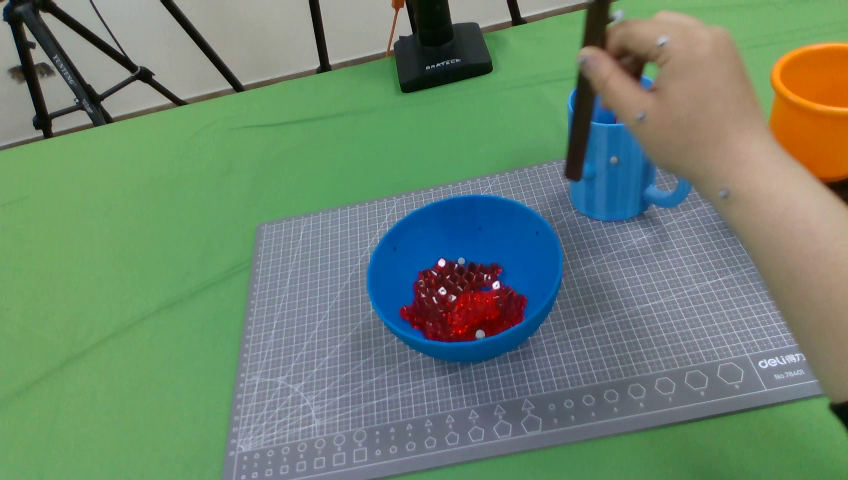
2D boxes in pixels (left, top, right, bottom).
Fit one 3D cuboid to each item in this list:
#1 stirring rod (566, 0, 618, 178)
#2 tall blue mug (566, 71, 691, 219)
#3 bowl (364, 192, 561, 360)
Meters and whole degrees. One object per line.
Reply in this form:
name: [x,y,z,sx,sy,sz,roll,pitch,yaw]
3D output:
stirring rod: [0.104,-0.103,0.372,0.014,0.178,0.006,20,55,20]
tall blue mug: [0.180,-0.080,0.534,0.106,0.109,0.077,9,50,22]
bowl: [0.035,0.040,0.482,0.151,0.077,0.150,-7,46,8]
